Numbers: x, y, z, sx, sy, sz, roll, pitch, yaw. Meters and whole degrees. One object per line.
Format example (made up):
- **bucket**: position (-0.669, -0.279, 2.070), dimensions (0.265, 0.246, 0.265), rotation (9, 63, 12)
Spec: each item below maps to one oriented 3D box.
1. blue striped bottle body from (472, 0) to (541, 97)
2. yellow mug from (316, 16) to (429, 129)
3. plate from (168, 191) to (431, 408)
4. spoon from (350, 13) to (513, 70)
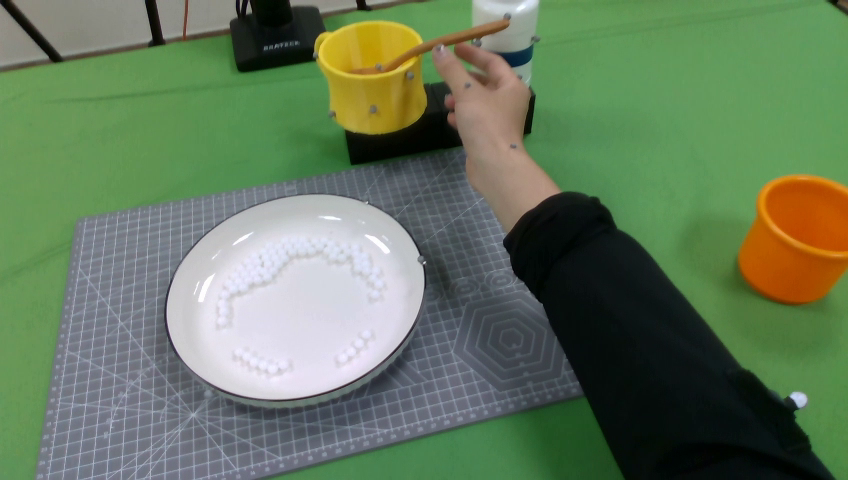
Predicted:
- **blue striped bottle body**: position (0.079, -0.206, 0.588), dimensions (0.063, 0.122, 0.062), rotation (-1, 50, 2)
- **yellow mug**: position (-0.059, -0.172, 0.601), dimensions (0.130, 0.064, 0.099), rotation (28, 56, 25)
- **plate**: position (-0.097, 0.045, 0.498), dimensions (0.208, 0.039, 0.205), rotation (-1, 49, 1)
- **spoon**: position (-0.006, -0.174, 0.557), dimensions (0.193, 0.022, 0.041), rotation (-10, 36, 38)
